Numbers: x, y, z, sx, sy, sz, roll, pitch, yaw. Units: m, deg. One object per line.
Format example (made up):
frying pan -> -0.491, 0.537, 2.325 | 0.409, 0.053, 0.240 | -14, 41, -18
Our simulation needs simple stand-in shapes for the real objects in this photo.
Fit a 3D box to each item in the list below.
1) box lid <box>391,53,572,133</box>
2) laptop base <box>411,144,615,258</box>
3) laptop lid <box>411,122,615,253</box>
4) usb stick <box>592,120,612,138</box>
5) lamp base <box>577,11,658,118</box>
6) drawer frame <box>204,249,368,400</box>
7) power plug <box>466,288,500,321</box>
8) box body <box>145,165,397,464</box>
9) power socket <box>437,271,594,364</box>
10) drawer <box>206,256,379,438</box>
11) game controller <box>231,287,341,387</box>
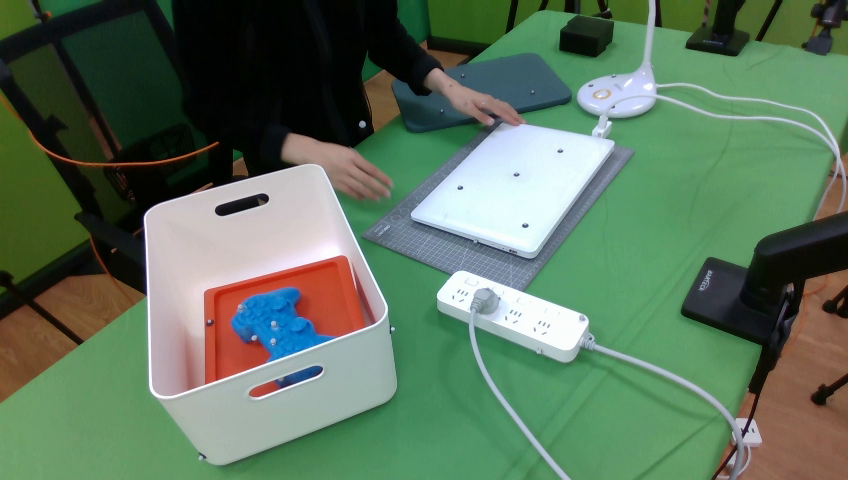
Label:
box lid -> 0.123, -0.339, 1.366 | 0.372, 0.015, 0.261 | -12, 40, -5
laptop base -> 0.167, -0.102, 1.074 | 0.234, 0.023, 0.355 | 16, 45, 30
laptop lid -> 0.164, -0.112, 1.068 | 0.240, 0.013, 0.357 | 19, 46, 31
usb stick -> 0.335, -0.203, 1.149 | 0.021, 0.027, 0.059 | 25, 53, 26
lamp base -> 0.406, -0.363, 1.222 | 0.180, 0.181, 0.159 | -20, 42, -18
drawer frame -> -0.174, 0.129, 0.791 | 0.202, 0.083, 0.212 | -16, 45, -8
power plug -> 0.072, 0.093, 0.813 | 0.035, 0.053, 0.073 | 31, 54, 35
box body -> -0.205, 0.080, 0.802 | 0.255, 0.161, 0.361 | -18, 41, -13
power socket -> 0.118, 0.102, 0.830 | 0.225, 0.033, 0.072 | 20, 48, 28
drawer -> -0.177, 0.130, 0.787 | 0.195, 0.073, 0.210 | -14, 39, -10
game controller -> -0.167, 0.110, 0.735 | 0.097, 0.052, 0.154 | -34, 47, -22
